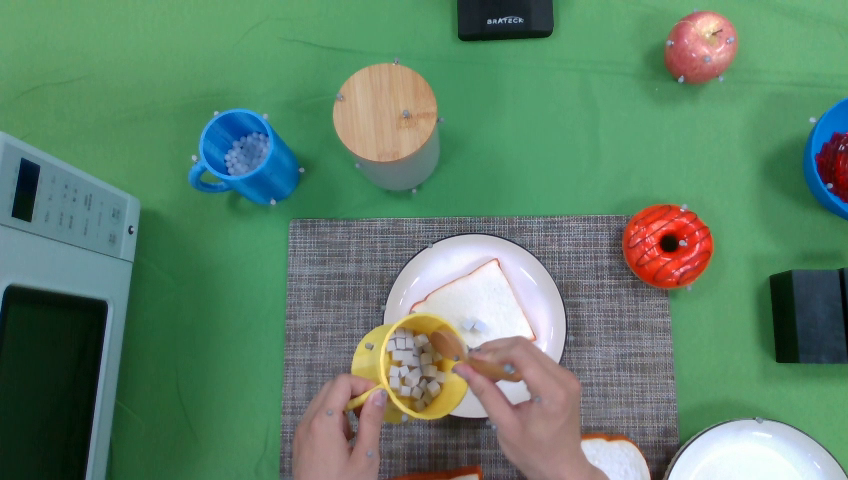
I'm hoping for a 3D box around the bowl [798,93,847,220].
[{"bbox_3d":[0.487,-0.084,0.681,0.151,0.077,0.151,-1,81,3],"label":"bowl"}]

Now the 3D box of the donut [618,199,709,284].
[{"bbox_3d":[0.272,0.002,0.692,0.099,0.048,0.098,0,81,3],"label":"donut"}]

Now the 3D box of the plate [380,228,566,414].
[{"bbox_3d":[0.055,0.090,0.692,0.207,0.039,0.207,-1,80,3],"label":"plate"}]

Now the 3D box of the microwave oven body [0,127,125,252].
[{"bbox_3d":[-0.526,0.126,0.604,0.326,0.261,0.440,3,81,3],"label":"microwave oven body"}]

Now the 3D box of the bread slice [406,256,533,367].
[{"bbox_3d":[0.046,0.092,0.694,0.131,0.019,0.104,-27,80,-2],"label":"bread slice"}]

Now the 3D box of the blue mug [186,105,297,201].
[{"bbox_3d":[-0.217,-0.091,0.706,0.116,0.106,0.082,-26,79,-1],"label":"blue mug"}]

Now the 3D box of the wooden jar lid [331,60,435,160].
[{"bbox_3d":[-0.042,-0.133,0.631,0.108,0.021,0.108,-1,78,4],"label":"wooden jar lid"}]

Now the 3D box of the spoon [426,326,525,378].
[{"bbox_3d":[0.040,0.098,0.516,0.021,0.193,0.042,-40,99,-11],"label":"spoon"}]

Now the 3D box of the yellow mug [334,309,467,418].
[{"bbox_3d":[-0.028,0.127,0.583,0.131,0.064,0.100,-24,88,-35],"label":"yellow mug"}]

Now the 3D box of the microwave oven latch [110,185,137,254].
[{"bbox_3d":[-0.363,-0.024,0.718,0.030,0.029,0.079,5,81,4],"label":"microwave oven latch"}]

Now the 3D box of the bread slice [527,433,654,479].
[{"bbox_3d":[0.180,0.261,0.634,0.135,0.018,0.106,-5,77,-18],"label":"bread slice"}]

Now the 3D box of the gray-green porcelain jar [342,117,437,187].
[{"bbox_3d":[-0.038,-0.122,0.692,0.106,0.127,0.105,-1,80,3],"label":"gray-green porcelain jar"}]

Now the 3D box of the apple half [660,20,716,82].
[{"bbox_3d":[0.301,-0.213,0.714,0.033,0.081,0.081,-33,80,-7],"label":"apple half"}]

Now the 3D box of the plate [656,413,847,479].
[{"bbox_3d":[0.347,0.290,0.646,0.209,0.038,0.208,-1,80,3],"label":"plate"}]

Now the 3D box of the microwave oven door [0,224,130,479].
[{"bbox_3d":[-0.383,0.174,0.583,0.039,0.245,0.354,2,80,4],"label":"microwave oven door"}]

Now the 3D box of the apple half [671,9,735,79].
[{"bbox_3d":[0.332,-0.235,0.718,0.053,0.075,0.080,-32,76,-8],"label":"apple half"}]
